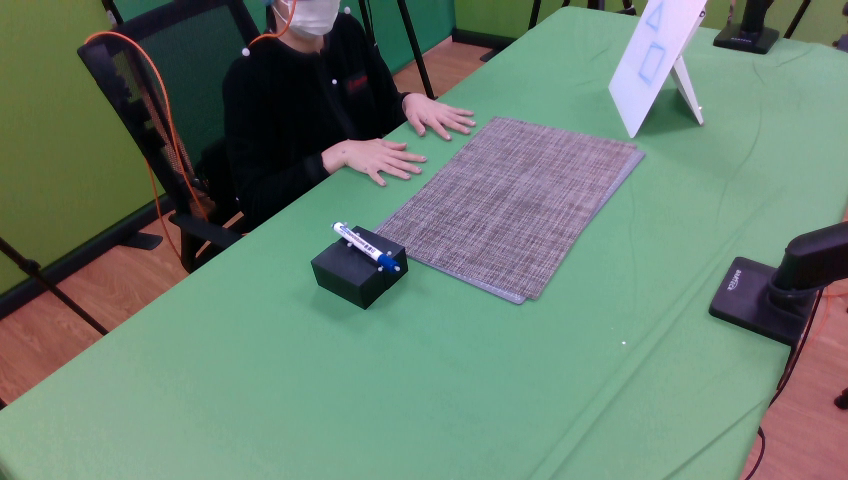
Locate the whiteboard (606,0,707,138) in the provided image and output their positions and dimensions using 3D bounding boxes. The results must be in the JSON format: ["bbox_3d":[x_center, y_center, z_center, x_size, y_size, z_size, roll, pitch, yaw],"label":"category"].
[{"bbox_3d":[0.496,-0.359,1.147,0.144,0.305,0.216,11,40,-7],"label":"whiteboard"}]

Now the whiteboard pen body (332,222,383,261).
[{"bbox_3d":[-0.093,0.006,0.905,0.017,0.017,0.139,-34,47,-28],"label":"whiteboard pen body"}]

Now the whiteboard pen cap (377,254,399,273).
[{"bbox_3d":[-0.052,0.033,0.869,0.018,0.018,0.033,-34,46,-28],"label":"whiteboard pen cap"}]
